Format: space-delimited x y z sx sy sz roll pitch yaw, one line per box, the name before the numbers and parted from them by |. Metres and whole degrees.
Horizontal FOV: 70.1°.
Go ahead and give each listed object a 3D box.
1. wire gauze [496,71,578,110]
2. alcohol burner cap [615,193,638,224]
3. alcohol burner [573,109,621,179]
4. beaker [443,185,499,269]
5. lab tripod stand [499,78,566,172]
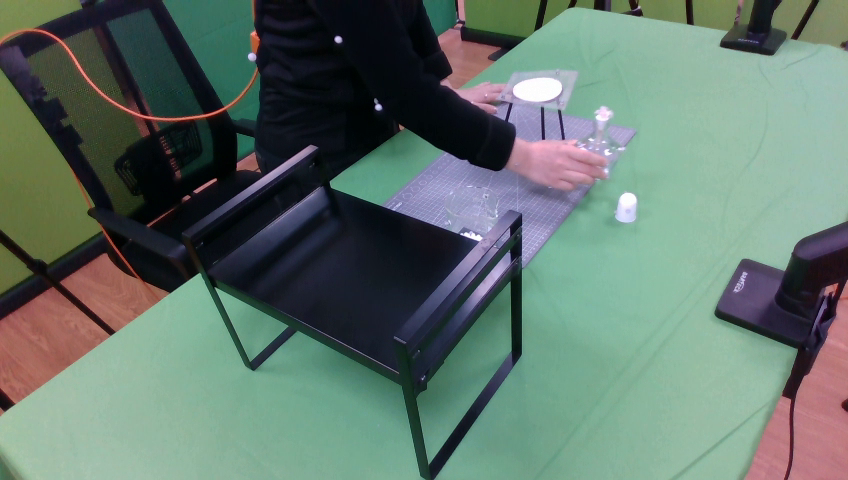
wire gauze | 0.200 -0.268 1.065 0.124 0.011 0.121 10 44 22
alcohol burner cap | 0.327 -0.054 0.974 0.034 0.048 0.033 -2 38 2
alcohol burner | 0.284 -0.160 0.985 0.078 0.119 0.077 -1 38 1
beaker | 0.071 -0.015 0.845 0.074 0.101 0.083 -35 48 -28
lab tripod stand | 0.204 -0.216 1.107 0.148 0.132 0.147 -6 41 5
